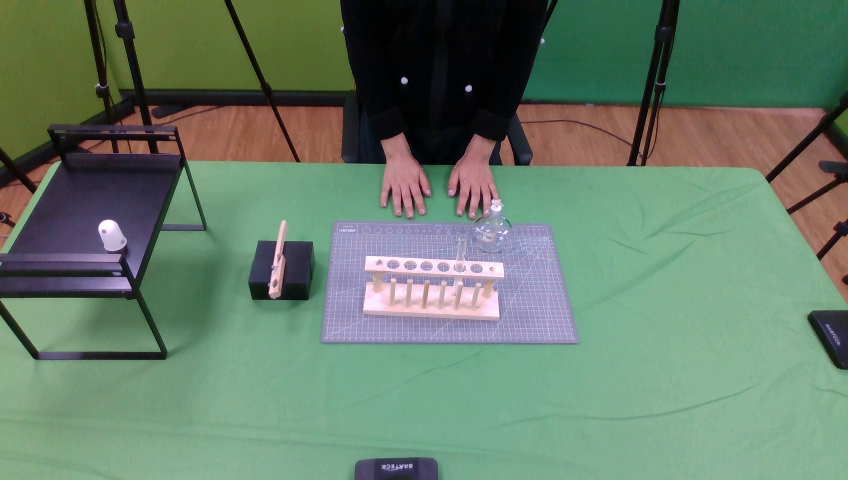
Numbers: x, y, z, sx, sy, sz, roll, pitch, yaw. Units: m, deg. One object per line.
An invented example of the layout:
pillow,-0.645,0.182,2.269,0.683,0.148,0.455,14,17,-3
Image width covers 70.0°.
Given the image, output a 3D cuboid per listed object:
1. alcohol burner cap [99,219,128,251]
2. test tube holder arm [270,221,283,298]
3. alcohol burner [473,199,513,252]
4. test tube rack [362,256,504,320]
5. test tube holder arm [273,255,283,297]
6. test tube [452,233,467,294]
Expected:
alcohol burner cap,-0.466,-0.010,0.907,0.034,0.048,0.033,1,47,-1
test tube holder arm,-0.264,0.031,1.086,0.013,0.015,0.177,-6,46,-4
alcohol burner,0.135,-0.034,1.174,0.078,0.120,0.077,1,47,-1
test tube rack,0.015,0.085,1.069,0.242,0.085,0.066,3,45,-2
test tube holder arm,-0.253,0.062,1.055,0.010,0.015,0.087,-5,46,-3
test tube,0.061,0.045,1.044,0.017,0.151,0.017,1,47,-1
